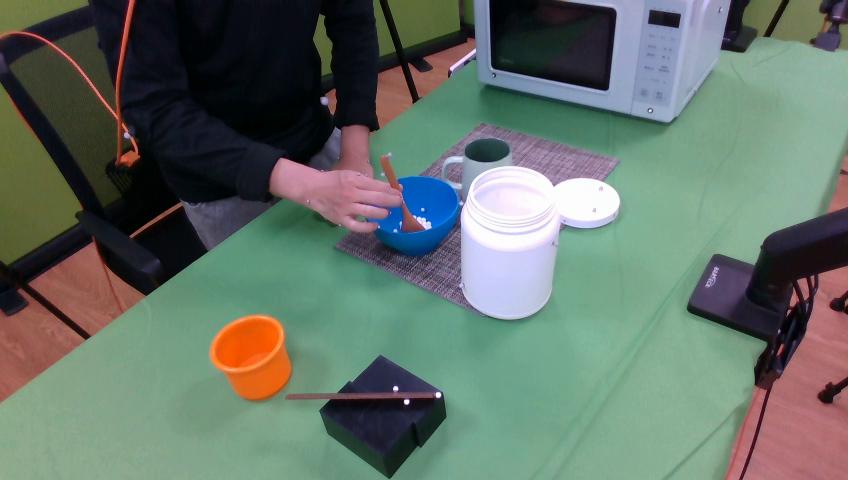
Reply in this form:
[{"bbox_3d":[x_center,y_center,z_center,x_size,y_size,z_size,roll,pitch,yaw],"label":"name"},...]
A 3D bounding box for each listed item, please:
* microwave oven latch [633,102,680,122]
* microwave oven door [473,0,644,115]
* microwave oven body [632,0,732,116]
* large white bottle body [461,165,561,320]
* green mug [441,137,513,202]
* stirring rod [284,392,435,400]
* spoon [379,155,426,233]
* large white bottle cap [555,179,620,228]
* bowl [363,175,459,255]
[{"bbox_3d":[0.444,-0.249,1.157,0.078,0.029,0.030,21,49,30],"label":"microwave oven latch"},{"bbox_3d":[0.257,-0.396,1.199,0.353,0.245,0.039,21,48,29],"label":"microwave oven door"},{"bbox_3d":[0.377,-0.462,1.267,0.438,0.261,0.327,21,48,30],"label":"microwave oven body"},{"bbox_3d":[0.115,0.004,0.816,0.130,0.185,0.130,-2,43,2],"label":"large white bottle body"},{"bbox_3d":[0.091,-0.108,1.012,0.125,0.105,0.092,2,42,11],"label":"green mug"},{"bbox_3d":[-0.075,0.180,0.698,0.176,0.006,0.014,-2,6,6],"label":"stirring rod"},{"bbox_3d":[-0.033,-0.055,0.870,0.041,0.195,0.021,-11,49,10],"label":"spoon"},{"bbox_3d":[0.265,-0.062,1.001,0.115,0.018,0.114,-3,41,3],"label":"large white bottle cap"},{"bbox_3d":[-0.017,-0.029,0.955,0.151,0.077,0.150,-4,40,4],"label":"bowl"}]
